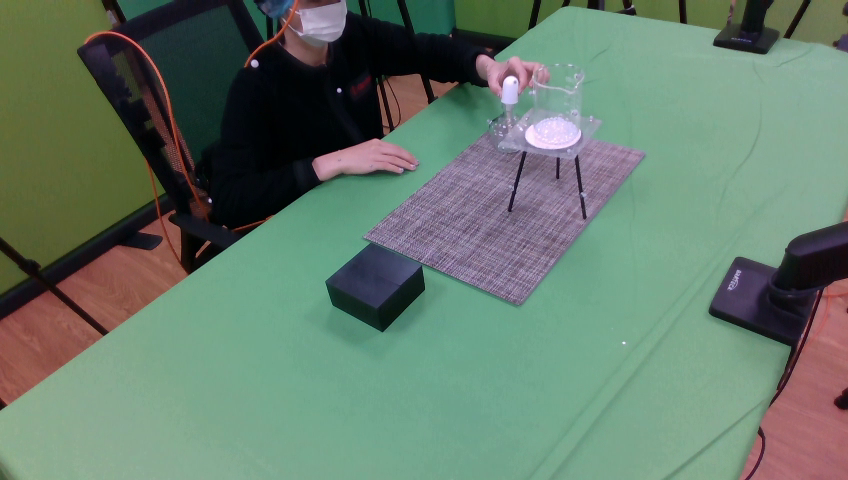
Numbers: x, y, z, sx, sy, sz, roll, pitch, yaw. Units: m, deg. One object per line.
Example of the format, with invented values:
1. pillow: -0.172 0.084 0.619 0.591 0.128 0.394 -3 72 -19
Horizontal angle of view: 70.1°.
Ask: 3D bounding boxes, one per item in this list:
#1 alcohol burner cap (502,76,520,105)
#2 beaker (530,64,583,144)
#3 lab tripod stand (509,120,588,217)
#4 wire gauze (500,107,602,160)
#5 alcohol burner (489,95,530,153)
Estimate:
1. alcohol burner cap: 0.159 -0.273 1.098 0.034 0.048 0.033 -2 36 2
2. beaker: 0.201 -0.201 0.909 0.074 0.101 0.083 -19 43 -10
3. lab tripod stand: 0.208 -0.114 0.983 0.148 0.132 0.147 -5 42 5
4. wire gauze: 0.199 -0.166 0.945 0.120 0.011 0.125 17 50 28
5. alcohol burner: 0.160 -0.226 1.136 0.078 0.119 0.077 -6 41 5
